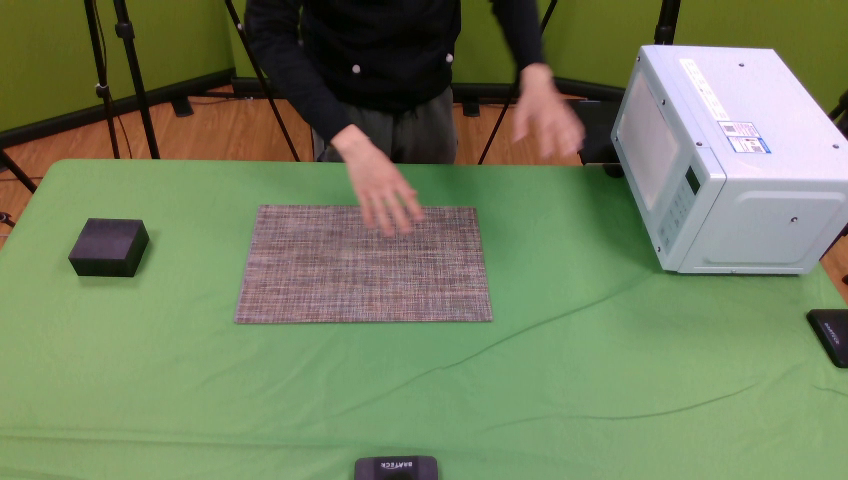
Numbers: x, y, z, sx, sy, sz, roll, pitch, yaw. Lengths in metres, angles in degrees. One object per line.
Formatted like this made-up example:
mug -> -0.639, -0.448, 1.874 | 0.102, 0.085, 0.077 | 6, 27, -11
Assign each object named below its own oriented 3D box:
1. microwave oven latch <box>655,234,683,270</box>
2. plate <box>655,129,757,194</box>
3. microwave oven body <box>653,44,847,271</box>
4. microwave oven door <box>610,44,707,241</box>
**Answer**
microwave oven latch -> 0.473, 0.021, 1.175 | 0.030, 0.029, 0.078 | 2, 46, -1
plate -> 0.601, -0.165, 1.305 | 0.209, 0.038, 0.208 | 2, 45, -1
microwave oven body -> 0.620, -0.172, 1.234 | 0.326, 0.261, 0.439 | 0, 46, -3
microwave oven door -> 0.473, -0.208, 1.250 | 0.039, 0.245, 0.353 | 0, 47, -3
